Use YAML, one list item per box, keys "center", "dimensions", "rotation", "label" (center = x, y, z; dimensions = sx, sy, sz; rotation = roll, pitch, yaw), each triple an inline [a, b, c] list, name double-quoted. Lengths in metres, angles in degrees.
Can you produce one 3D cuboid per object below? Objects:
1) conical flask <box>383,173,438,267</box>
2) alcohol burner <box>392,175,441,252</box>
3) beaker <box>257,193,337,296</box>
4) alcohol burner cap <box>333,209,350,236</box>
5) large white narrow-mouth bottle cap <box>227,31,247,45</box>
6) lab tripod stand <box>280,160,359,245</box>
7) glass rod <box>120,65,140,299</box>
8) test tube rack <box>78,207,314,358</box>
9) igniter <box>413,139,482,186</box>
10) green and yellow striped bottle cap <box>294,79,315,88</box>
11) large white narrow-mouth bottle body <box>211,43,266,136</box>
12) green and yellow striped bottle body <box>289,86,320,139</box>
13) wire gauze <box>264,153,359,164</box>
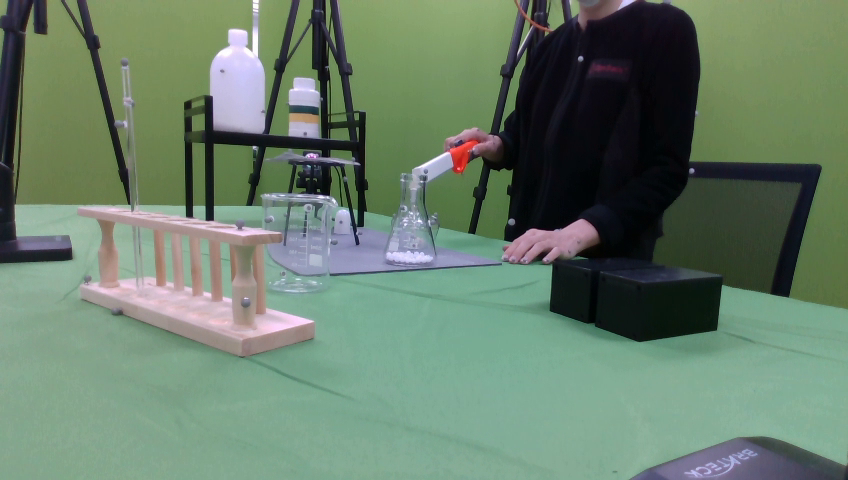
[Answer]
- center: [-0.016, -0.028, 0.808]
  dimensions: [0.075, 0.122, 0.075]
  rotation: [2, 8, 0]
  label: "conical flask"
- center: [-0.012, -0.041, 0.944]
  dimensions: [0.078, 0.119, 0.078]
  rotation: [0, 7, 0]
  label: "alcohol burner"
- center: [-0.130, 0.004, 0.628]
  dimensions: [0.084, 0.100, 0.074]
  rotation: [5, 8, 15]
  label: "beaker"
- center: [-0.151, -0.033, 1.116]
  dimensions: [0.034, 0.048, 0.034]
  rotation: [4, 7, 0]
  label: "alcohol burner cap"
- center: [-0.361, -0.388, 1.166]
  dimensions: [0.038, 0.024, 0.037]
  rotation: [1, 7, 0]
  label: "large white narrow-mouth bottle cap"
- center: [-0.176, -0.062, 0.973]
  dimensions: [0.148, 0.131, 0.148]
  rotation: [1, 7, 0]
  label: "lab tripod stand"
- center: [-0.249, -0.047, 0.513]
  dimensions: [0.008, 0.199, 0.008]
  rotation: [-1, 4, 0]
  label: "glass rod"
- center: [-0.196, 0.024, 0.500]
  dimensions: [0.241, 0.085, 0.067]
  rotation: [8, 8, 37]
  label: "test tube rack"
- center: [0.049, -0.143, 1.077]
  dimensions: [0.025, 0.057, 0.277]
  rotation: [-7, 15, 27]
  label: "igniter"
- center: [-0.248, -0.323, 1.256]
  dimensions: [0.045, 0.020, 0.045]
  rotation: [3, 9, 0]
  label: "green and yellow striped bottle cap"
- center: [-0.361, -0.302, 1.176]
  dimensions: [0.102, 0.194, 0.102]
  rotation: [1, 7, 0]
  label: "large white narrow-mouth bottle body"
- center: [-0.250, -0.272, 1.261]
  dimensions: [0.063, 0.119, 0.063]
  rotation: [3, 7, 0]
  label: "green and yellow striped bottle body"
- center: [-0.181, -0.129, 0.969]
  dimensions: [0.126, 0.011, 0.121]
  rotation: [-1, 6, -27]
  label: "wire gauze"
